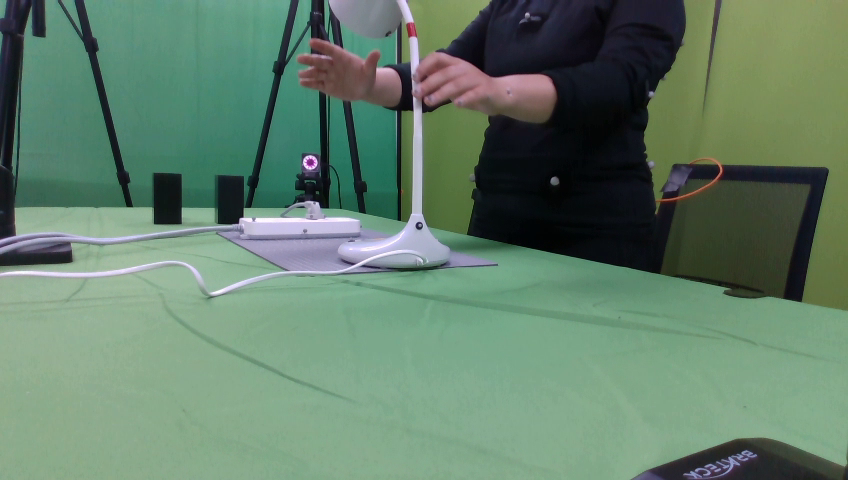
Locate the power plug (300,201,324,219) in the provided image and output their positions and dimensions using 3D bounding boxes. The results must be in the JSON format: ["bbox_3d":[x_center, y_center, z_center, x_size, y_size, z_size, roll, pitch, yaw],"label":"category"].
[{"bbox_3d":[-0.207,-0.046,1.120,0.035,0.052,0.072,2,4,-22],"label":"power plug"}]

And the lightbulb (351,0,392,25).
[{"bbox_3d":[-0.070,-0.355,0.866,0.060,0.059,0.107,0,-20,-20],"label":"lightbulb"}]

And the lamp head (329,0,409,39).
[{"bbox_3d":[-0.062,-0.357,0.841,0.113,0.112,0.122,-1,-14,-29],"label":"lamp head"}]

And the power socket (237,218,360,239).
[{"bbox_3d":[-0.220,-0.023,1.080,0.228,0.032,0.072,-2,8,-33],"label":"power socket"}]

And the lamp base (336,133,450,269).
[{"bbox_3d":[-0.032,-0.057,0.830,0.161,0.180,0.178,-2,11,-34],"label":"lamp base"}]
